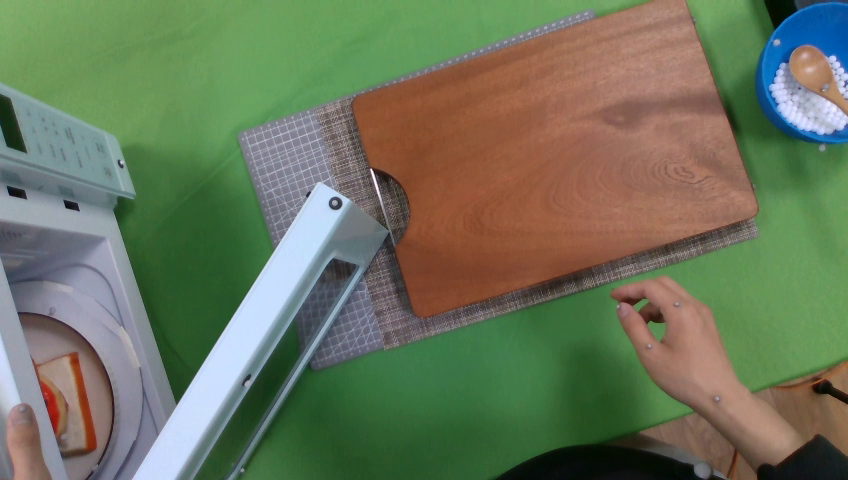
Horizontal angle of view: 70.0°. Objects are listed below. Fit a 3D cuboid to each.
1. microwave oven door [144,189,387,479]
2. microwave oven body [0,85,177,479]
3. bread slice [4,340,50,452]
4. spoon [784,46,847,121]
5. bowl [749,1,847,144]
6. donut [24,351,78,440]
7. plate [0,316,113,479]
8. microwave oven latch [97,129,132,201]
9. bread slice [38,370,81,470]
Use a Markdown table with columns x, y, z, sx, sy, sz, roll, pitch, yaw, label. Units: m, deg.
| x | y | z | sx | sy | sz | roll | pitch | yaw | label |
| --- | --- | --- | --- | --- | --- | --- | --- | --- | --- |
| -0.155 | 0.123 | 0.577 | 0.039 | 0.244 | 0.355 | 31 | 88 | 6 | microwave oven door |
| -0.453 | 0.122 | 0.598 | 0.326 | 0.260 | 0.440 | -21 | 86 | 1 | microwave oven body |
| -0.426 | 0.167 | 0.581 | 0.134 | 0.018 | 0.107 | -22 | 86 | 12 | bread slice |
| 0.439 | -0.129 | 0.631 | 0.041 | 0.022 | 0.192 | -19 | 62 | -1 | spoon |
| 0.424 | -0.172 | 0.665 | 0.151 | 0.077 | 0.151 | 0 | 86 | 3 | bowl |
| -0.407 | 0.163 | 0.621 | 0.099 | 0.048 | 0.098 | 0 | 81 | 2 | donut |
| -0.431 | 0.184 | 0.641 | 0.208 | 0.039 | 0.207 | 0 | 85 | -1 | plate |
| -0.369 | -0.087 | 0.705 | 0.030 | 0.029 | 0.079 | -21 | 86 | 1 | microwave oven latch |
| -0.436 | 0.188 | 0.643 | 0.131 | 0.019 | 0.104 | 3 | 87 | 2 | bread slice |
